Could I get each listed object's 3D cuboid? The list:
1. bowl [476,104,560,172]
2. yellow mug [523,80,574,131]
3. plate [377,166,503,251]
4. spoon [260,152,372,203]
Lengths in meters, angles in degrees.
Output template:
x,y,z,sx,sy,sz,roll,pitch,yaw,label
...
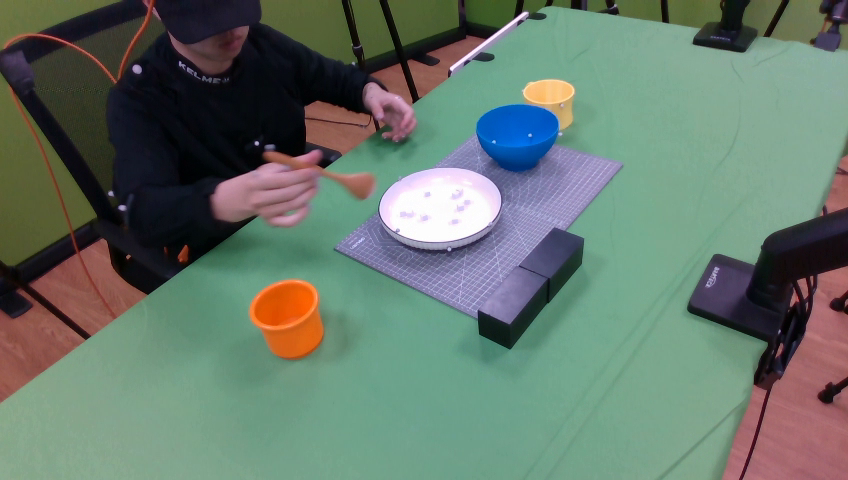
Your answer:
x,y,z,sx,sy,sz,roll,pitch,yaw,label
0.171,-0.178,1.105,0.151,0.077,0.150,-4,40,4,bowl
0.242,-0.278,1.224,0.100,0.064,0.129,-24,42,-18,yellow mug
0.027,-0.050,1.007,0.209,0.038,0.208,-4,41,4,plate
-0.137,-0.084,0.800,0.195,0.041,0.021,16,13,-47,spoon
